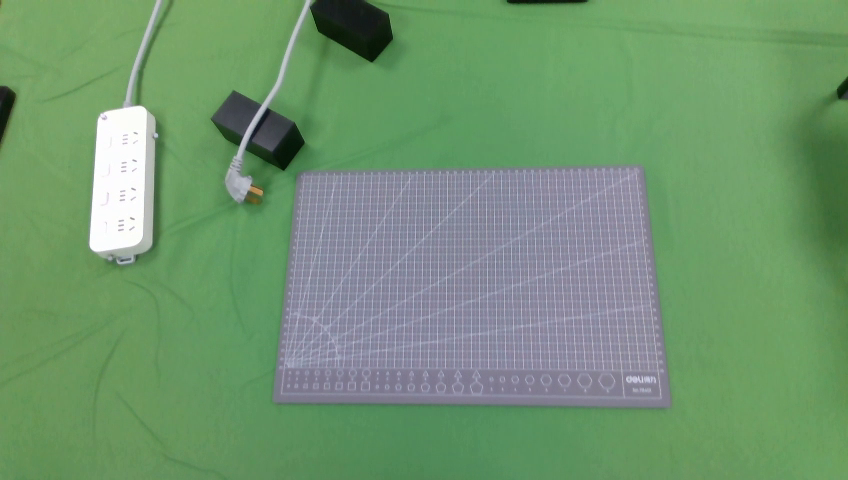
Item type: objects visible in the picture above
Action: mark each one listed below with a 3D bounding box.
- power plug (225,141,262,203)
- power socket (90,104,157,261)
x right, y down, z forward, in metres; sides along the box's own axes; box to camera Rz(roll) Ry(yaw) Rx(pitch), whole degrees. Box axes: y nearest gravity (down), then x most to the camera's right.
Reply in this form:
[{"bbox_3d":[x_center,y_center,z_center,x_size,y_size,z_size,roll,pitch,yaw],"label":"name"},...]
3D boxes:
[{"bbox_3d":[-0.225,-0.082,0.775,0.053,0.073,0.035,24,27,-23],"label":"power plug"},{"bbox_3d":[-0.395,-0.083,0.802,0.072,0.033,0.225,-8,69,0],"label":"power socket"}]
